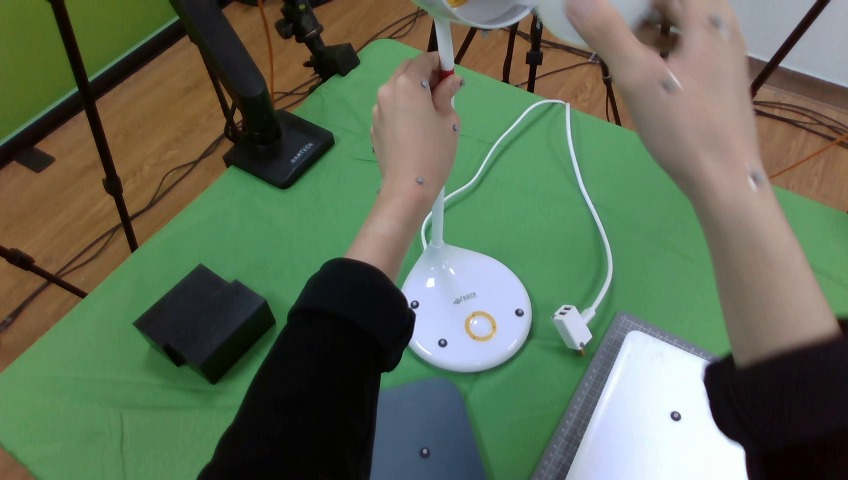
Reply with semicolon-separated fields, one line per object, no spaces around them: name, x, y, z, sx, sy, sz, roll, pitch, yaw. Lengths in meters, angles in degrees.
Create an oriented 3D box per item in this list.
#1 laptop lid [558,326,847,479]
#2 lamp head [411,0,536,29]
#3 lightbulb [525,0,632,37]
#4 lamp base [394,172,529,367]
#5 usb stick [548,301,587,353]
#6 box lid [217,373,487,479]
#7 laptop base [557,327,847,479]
laptop lid;0.323;0.246;0.581;0.354;0.013;0.241;25;61;19
lamp head;0.016;-0.206;0.420;0.112;0.113;0.121;-31;29;-20
lightbulb;0.069;-0.150;0.329;0.059;0.060;0.106;-26;45;-16
lamp base;0.034;0.024;0.664;0.160;0.182;0.177;-30;56;-19
usb stick;0.166;0.100;0.688;0.027;0.059;0.021;-36;18;-27
box lid;-0.050;0.313;0.561;0.263;0.015;0.367;-13;56;-7
laptop base;0.325;0.251;0.592;0.352;0.023;0.234;24;61;18
